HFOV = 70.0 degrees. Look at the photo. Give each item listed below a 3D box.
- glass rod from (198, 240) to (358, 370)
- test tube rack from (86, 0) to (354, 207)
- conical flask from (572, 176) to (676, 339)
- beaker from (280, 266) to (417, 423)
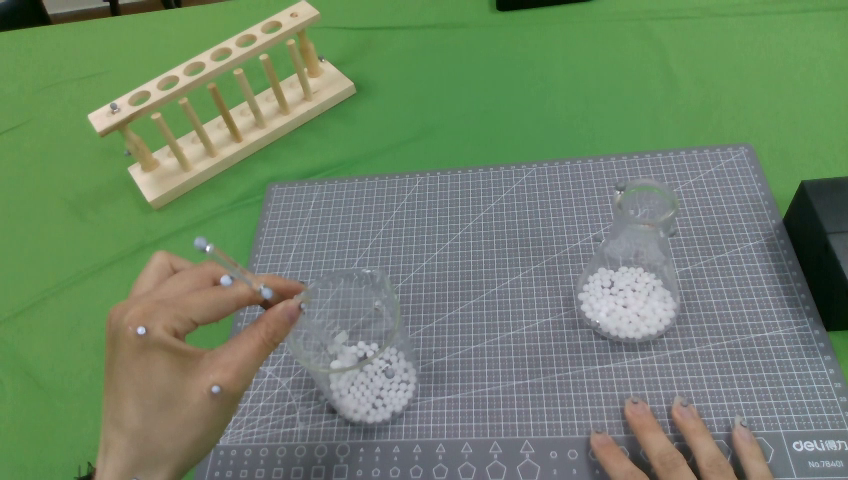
[{"bbox_3d":[-0.080,0.049,0.376,0.008,0.202,0.008,-8,59,14],"label":"glass rod"},{"bbox_3d":[-0.198,-0.143,0.616,0.242,0.086,0.066,-35,55,-15],"label":"test tube rack"},{"bbox_3d":[0.142,0.010,0.415,0.075,0.123,0.074,-5,53,7],"label":"conical flask"},{"bbox_3d":[-0.045,0.074,0.416,0.073,0.101,0.083,21,59,23],"label":"beaker"}]
